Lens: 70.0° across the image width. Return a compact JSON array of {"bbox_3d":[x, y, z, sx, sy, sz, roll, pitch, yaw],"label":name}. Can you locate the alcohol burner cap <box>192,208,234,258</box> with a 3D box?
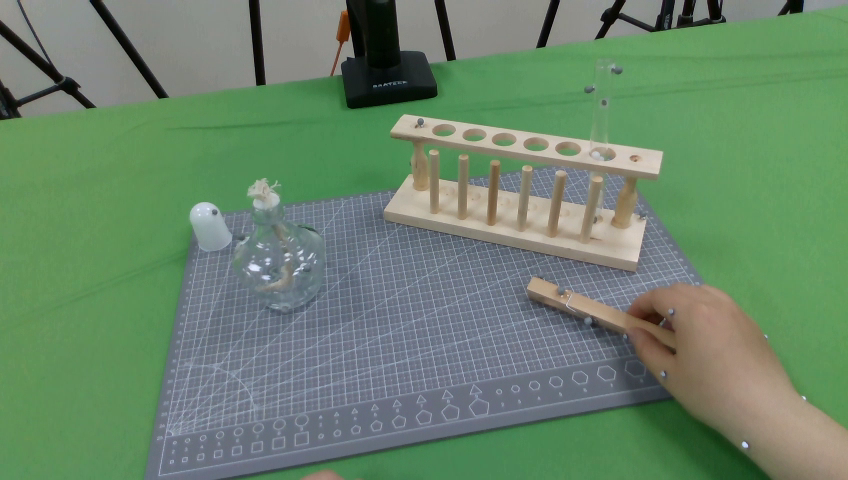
[{"bbox_3d":[-0.205,-0.010,0.584,0.034,0.048,0.033,-1,42,2],"label":"alcohol burner cap"}]

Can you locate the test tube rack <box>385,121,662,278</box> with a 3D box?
[{"bbox_3d":[0.083,-0.042,0.561,0.241,0.086,0.066,12,44,18],"label":"test tube rack"}]

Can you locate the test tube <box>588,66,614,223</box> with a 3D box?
[{"bbox_3d":[0.150,-0.076,0.519,0.017,0.152,0.017,-6,39,5],"label":"test tube"}]

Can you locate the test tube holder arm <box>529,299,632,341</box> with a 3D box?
[{"bbox_3d":[0.129,0.060,0.495,0.087,0.010,0.015,20,71,27],"label":"test tube holder arm"}]

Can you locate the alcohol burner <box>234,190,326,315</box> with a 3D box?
[{"bbox_3d":[-0.123,0.006,0.504,0.078,0.120,0.077,-1,42,2],"label":"alcohol burner"}]

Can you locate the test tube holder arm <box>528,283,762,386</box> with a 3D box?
[{"bbox_3d":[0.165,0.071,0.471,0.177,0.013,0.015,20,71,25],"label":"test tube holder arm"}]
